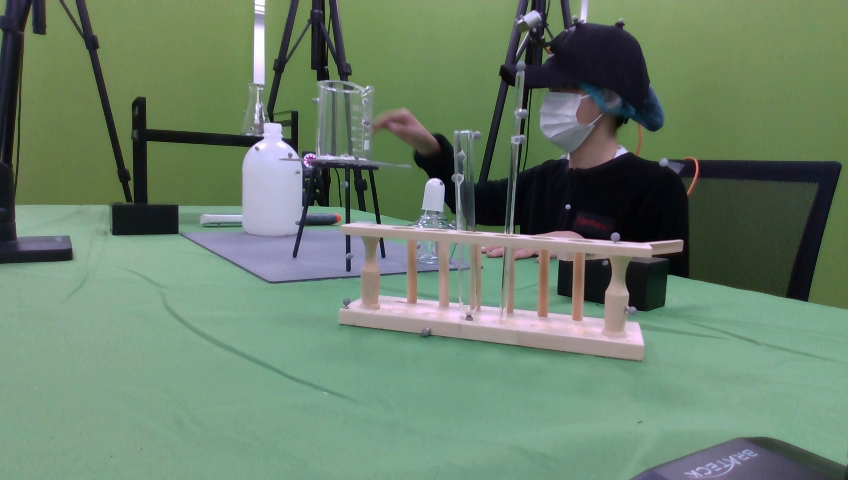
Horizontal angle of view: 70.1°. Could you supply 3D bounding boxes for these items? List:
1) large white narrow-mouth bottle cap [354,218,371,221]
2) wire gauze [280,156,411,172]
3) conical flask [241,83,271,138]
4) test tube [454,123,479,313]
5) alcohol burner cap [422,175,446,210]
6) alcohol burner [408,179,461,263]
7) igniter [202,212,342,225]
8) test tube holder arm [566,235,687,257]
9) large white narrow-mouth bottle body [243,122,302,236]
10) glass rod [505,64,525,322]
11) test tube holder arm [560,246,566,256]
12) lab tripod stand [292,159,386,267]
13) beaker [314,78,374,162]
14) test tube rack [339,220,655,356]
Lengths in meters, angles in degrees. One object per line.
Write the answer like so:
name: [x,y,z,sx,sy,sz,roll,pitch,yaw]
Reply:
large white narrow-mouth bottle cap: [-0.120,-0.029,1.184,0.038,0.024,0.037,2,8,0]
wire gauze: [-0.103,-0.103,0.785,0.121,0.011,0.126,11,8,42]
conical flask: [-0.384,-0.297,1.393,0.075,0.122,0.075,2,7,0]
test tube: [0.034,-0.016,0.477,0.017,0.150,0.017,-2,9,1]
alcohol burner cap: [0.016,-0.065,0.830,0.034,0.048,0.034,7,4,0]
alcohol burner: [0.013,-0.029,0.834,0.078,0.119,0.078,0,6,0]
igniter: [-0.298,-0.043,1.216,0.278,0.025,0.057,-3,-2,-32]
test tube holder arm: [0.215,0.006,0.630,0.179,0.015,0.013,-3,9,-30]
large white narrow-mouth bottle body: [-0.264,-0.109,1.061,0.102,0.194,0.102,2,8,0]
glass rod: [0.069,-0.030,0.458,0.008,0.199,0.008,0,15,0]
test tube holder arm: [0.173,0.007,0.611,0.088,0.015,0.010,-3,9,-30]
lab tripod stand: [-0.105,-0.039,0.797,0.148,0.131,0.148,2,5,0]
beaker: [-0.101,-0.150,0.773,0.074,0.100,0.083,-2,8,-40]
test tube rack: [0.056,0.032,0.495,0.242,0.085,0.067,4,7,15]
